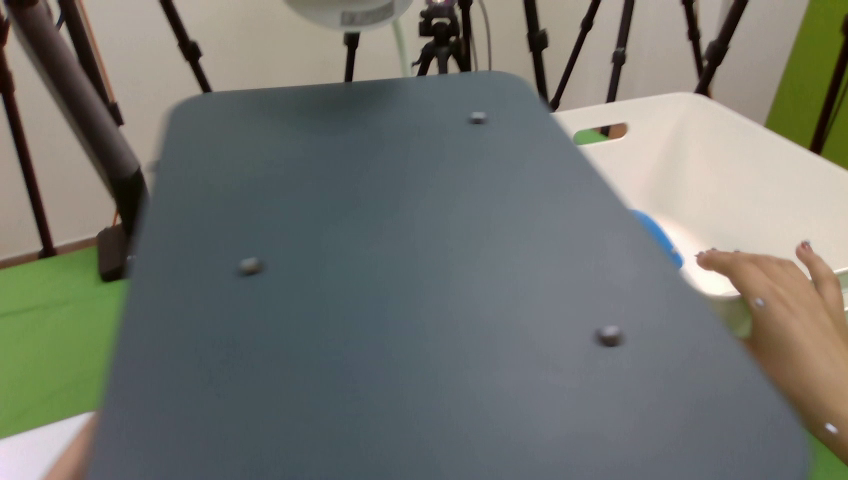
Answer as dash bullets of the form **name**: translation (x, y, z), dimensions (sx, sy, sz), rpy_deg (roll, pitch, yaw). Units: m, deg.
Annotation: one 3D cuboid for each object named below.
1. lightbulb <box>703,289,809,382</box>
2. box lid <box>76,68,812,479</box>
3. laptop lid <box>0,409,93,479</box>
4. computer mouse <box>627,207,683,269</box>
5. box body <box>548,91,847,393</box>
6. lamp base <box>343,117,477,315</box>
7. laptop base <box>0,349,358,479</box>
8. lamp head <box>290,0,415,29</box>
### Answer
- **lightbulb**: translation (0.321, 0.093, 0.584), dimensions (0.059, 0.060, 0.107), rpy_deg (-28, 62, -31)
- **box lid**: translation (-0.020, -0.005, 0.326), dimensions (0.264, 0.015, 0.367), rpy_deg (-8, 40, -10)
- **laptop lid**: translation (-0.234, 0.210, 0.468), dimensions (0.357, 0.013, 0.239), rpy_deg (-15, 38, -16)
- **computer mouse**: translation (0.259, -0.003, 0.735), dimensions (0.063, 0.041, 0.116), rpy_deg (-10, 39, -14)
- **box body**: translation (0.276, -0.010, 0.646), dimensions (0.255, 0.162, 0.360), rpy_deg (-12, 35, -13)
- **lamp base**: translation (-0.018, -0.036, 0.690), dimensions (0.160, 0.182, 0.178), rpy_deg (4, 33, 10)
- **laptop base**: translation (-0.234, 0.218, 0.476), dimensions (0.355, 0.023, 0.232), rpy_deg (-16, 40, -18)
- **lamp head**: translation (-0.054, -0.246, 0.475), dimensions (0.112, 0.113, 0.122), rpy_deg (-1, 60, 4)
